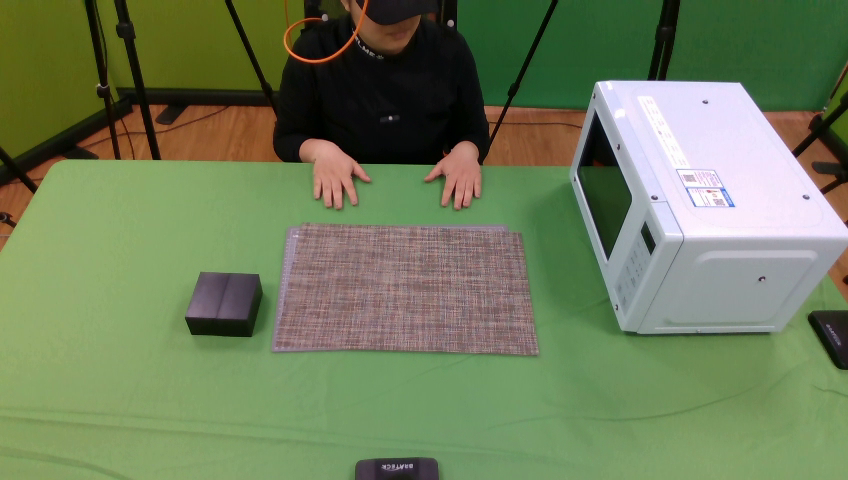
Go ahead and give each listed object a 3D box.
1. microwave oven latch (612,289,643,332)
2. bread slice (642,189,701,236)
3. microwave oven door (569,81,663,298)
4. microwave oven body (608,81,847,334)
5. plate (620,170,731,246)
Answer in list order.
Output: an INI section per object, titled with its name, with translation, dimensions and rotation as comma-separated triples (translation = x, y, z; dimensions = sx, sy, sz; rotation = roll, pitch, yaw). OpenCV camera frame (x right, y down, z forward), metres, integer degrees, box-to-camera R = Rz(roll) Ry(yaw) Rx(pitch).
[microwave oven latch]
translation = 0.357, 0.124, 1.068
dimensions = 0.030, 0.029, 0.078
rotation = 0, 45, -3
[bread slice]
translation = 0.494, -0.056, 1.197
dimensions = 0.105, 0.019, 0.131
rotation = 6, 42, 4
[microwave oven door]
translation = 0.353, -0.104, 1.147
dimensions = 0.039, 0.245, 0.353
rotation = 0, 46, -4
[microwave oven body]
translation = 0.501, -0.070, 1.132
dimensions = 0.326, 0.261, 0.438
rotation = -1, 45, -4
[plate]
translation = 0.490, -0.060, 1.194
dimensions = 0.209, 0.038, 0.208
rotation = 3, 45, -2
